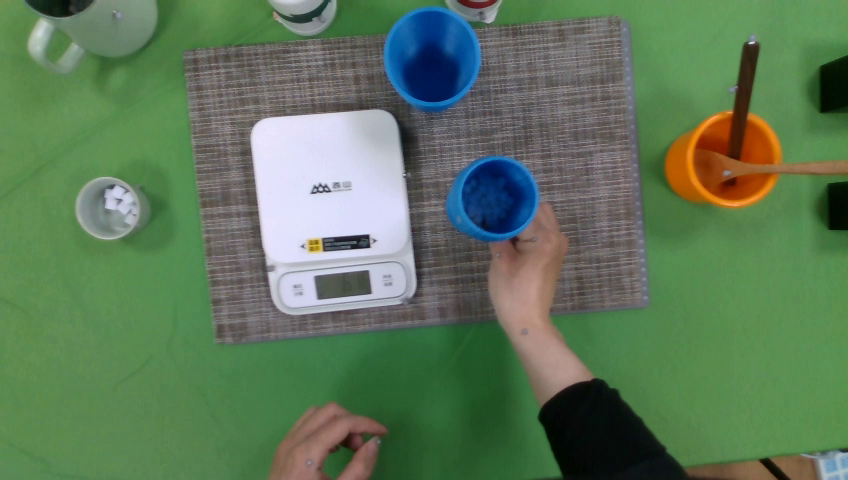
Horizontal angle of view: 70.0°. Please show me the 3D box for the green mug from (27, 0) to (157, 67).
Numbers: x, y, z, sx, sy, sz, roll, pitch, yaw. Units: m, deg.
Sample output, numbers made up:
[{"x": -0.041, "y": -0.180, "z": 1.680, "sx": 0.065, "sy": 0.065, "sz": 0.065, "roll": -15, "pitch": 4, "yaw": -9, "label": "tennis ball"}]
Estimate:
[{"x": -0.318, "y": -0.219, "z": 0.562, "sx": 0.092, "sy": 0.105, "sz": 0.125, "roll": 30, "pitch": 92, "yaw": -3, "label": "green mug"}]

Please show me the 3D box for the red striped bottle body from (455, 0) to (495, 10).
[{"x": 0.051, "y": -0.263, "z": 0.562, "sx": 0.063, "sy": 0.119, "sz": 0.063, "roll": 0, "pitch": 93, "yaw": -2, "label": "red striped bottle body"}]

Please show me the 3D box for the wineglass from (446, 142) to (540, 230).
[{"x": 0.056, "y": -0.045, "z": 0.545, "sx": 0.074, "sy": 0.172, "sz": 0.074, "roll": 0, "pitch": 92, "yaw": -1, "label": "wineglass"}]

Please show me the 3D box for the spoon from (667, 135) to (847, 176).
[{"x": 0.328, "y": -0.079, "z": 0.567, "sx": 0.022, "sy": 0.192, "sz": 0.042, "roll": -15, "pitch": 106, "yaw": -44, "label": "spoon"}]

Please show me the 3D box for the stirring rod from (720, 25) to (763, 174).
[{"x": 0.292, "y": -0.122, "z": 0.562, "sx": 0.014, "sy": 0.178, "sz": 0.006, "roll": 13, "pitch": 60, "yaw": 27, "label": "stirring rod"}]

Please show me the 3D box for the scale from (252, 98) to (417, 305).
[{"x": -0.089, "y": -0.037, "z": 0.612, "sx": 0.149, "sy": 0.031, "sz": 0.201, "roll": -6, "pitch": 94, "yaw": -1, "label": "scale"}]

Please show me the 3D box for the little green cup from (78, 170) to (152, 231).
[{"x": -0.305, "y": -0.039, "z": 0.606, "sx": 0.061, "sy": 0.038, "sz": 0.061, "roll": 0, "pitch": 93, "yaw": -2, "label": "little green cup"}]

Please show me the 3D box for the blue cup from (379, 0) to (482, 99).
[{"x": 0.008, "y": -0.172, "z": 0.573, "sx": 0.093, "sy": 0.100, "sz": 0.093, "roll": 0, "pitch": 96, "yaw": -1, "label": "blue cup"}]

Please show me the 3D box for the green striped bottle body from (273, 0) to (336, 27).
[{"x": -0.118, "y": -0.245, "z": 0.558, "sx": 0.063, "sy": 0.119, "sz": 0.063, "roll": 0, "pitch": 93, "yaw": -1, "label": "green striped bottle body"}]
